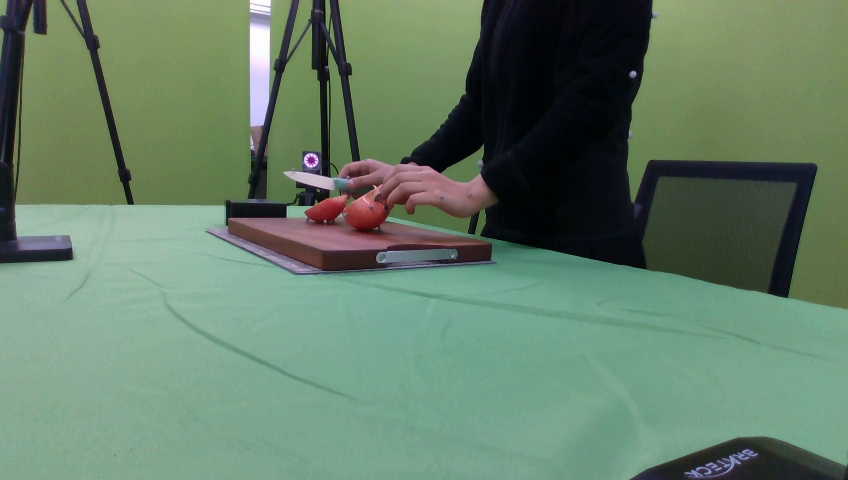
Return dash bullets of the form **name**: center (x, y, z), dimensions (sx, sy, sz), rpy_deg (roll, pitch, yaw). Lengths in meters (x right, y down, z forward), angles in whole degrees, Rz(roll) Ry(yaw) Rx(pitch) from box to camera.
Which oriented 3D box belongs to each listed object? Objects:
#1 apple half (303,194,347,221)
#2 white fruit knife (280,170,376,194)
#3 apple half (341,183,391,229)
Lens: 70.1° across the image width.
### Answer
- **apple half**: center (-0.166, -0.051, 1.051), dimensions (0.081, 0.033, 0.081), rpy_deg (-20, -2, 0)
- **white fruit knife**: center (-0.165, -0.103, 1.103), dimensions (0.208, 0.027, 0.016), rpy_deg (8, 24, -38)
- **apple half**: center (-0.087, -0.047, 0.961), dimensions (0.081, 0.053, 0.074), rpy_deg (-38, 4, -42)
